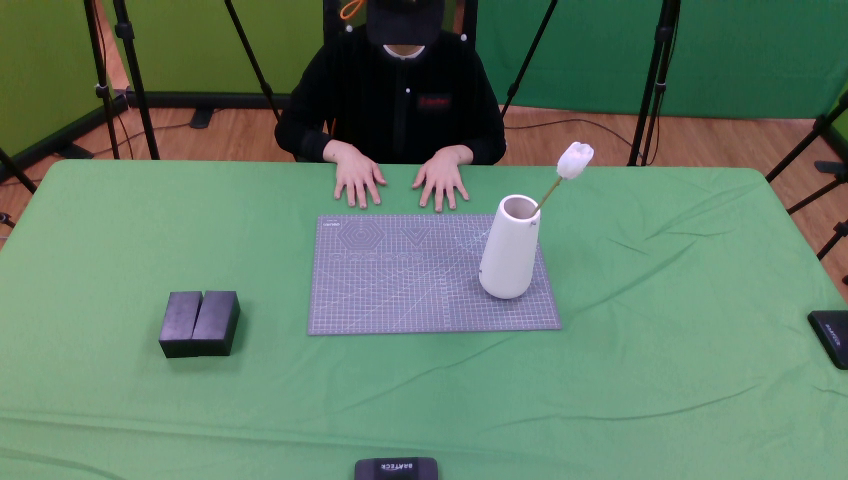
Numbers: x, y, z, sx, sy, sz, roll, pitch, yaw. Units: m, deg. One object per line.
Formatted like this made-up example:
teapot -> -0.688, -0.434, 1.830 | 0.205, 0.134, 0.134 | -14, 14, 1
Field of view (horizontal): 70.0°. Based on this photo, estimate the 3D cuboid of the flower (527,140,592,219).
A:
flower -> 0.172, -0.036, 1.002 | 0.044, 0.363, 0.038 | -20, 66, -29

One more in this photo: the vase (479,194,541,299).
vase -> 0.152, 0.015, 1.066 | 0.098, 0.201, 0.097 | 1, 47, -1
